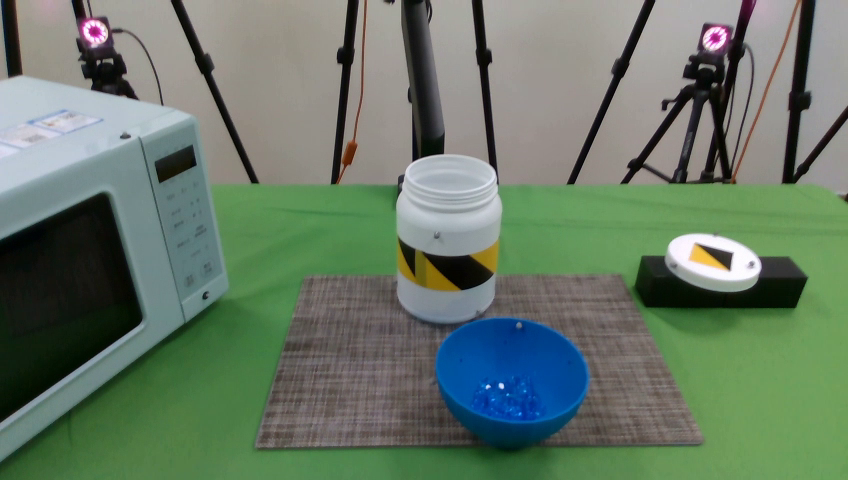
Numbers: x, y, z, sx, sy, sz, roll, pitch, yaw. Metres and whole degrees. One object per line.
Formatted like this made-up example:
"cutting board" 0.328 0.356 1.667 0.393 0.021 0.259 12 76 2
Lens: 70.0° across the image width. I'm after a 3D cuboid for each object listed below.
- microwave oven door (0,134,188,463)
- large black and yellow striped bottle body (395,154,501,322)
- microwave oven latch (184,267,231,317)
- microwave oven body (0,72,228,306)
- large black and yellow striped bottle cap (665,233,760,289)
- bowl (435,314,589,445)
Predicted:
"microwave oven door" -0.378 0.075 0.543 0.039 0.246 0.355 15 34 22
"large black and yellow striped bottle body" 0.029 -0.004 0.764 0.131 0.185 0.129 1 31 0
"microwave oven latch" -0.279 0.062 0.764 0.030 0.030 0.079 17 35 23
"microwave oven body" -0.490 0.026 0.632 0.324 0.262 0.440 15 35 22
"large black and yellow striped bottle cap" 0.378 0.025 0.796 0.115 0.019 0.114 0 31 1
"bowl" 0.085 0.152 0.612 0.151 0.077 0.150 0 31 0
